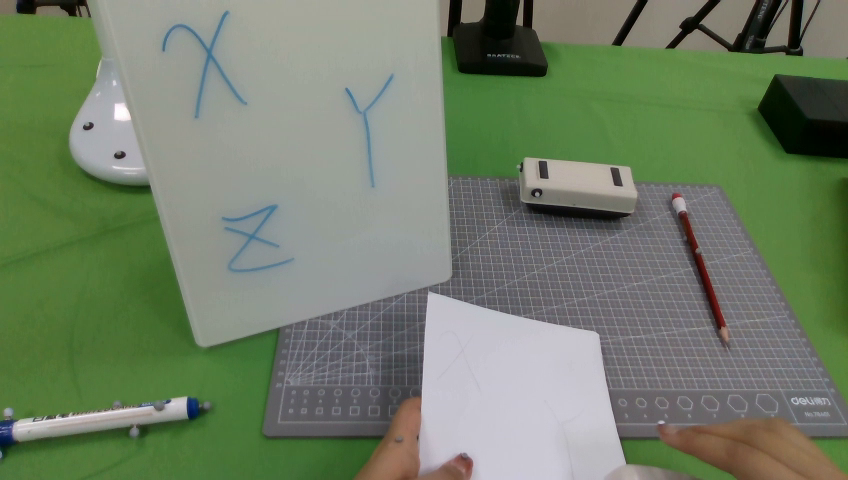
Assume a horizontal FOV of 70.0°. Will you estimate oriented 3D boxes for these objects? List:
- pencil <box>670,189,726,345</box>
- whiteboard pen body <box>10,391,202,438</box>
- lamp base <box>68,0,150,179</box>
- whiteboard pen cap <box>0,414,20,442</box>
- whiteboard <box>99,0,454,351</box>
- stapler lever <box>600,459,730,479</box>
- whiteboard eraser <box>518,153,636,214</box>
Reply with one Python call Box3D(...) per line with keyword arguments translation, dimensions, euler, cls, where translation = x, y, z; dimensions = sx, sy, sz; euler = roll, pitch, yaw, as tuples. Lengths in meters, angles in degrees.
Box3D(translation=(0.259, 0.019, 0.575), dimensions=(0.012, 0.012, 0.192), euler=(5, 47, -1), cls="pencil")
Box3D(translation=(-0.227, 0.121, 0.415), dimensions=(0.141, 0.017, 0.017), euler=(-6, 46, -11), cls="whiteboard pen body")
Box3D(translation=(-0.287, -0.177, 0.585), dimensions=(0.178, 0.182, 0.160), euler=(31, 50, 26), cls="lamp base")
Box3D(translation=(-0.286, 0.125, 0.401), dimensions=(0.033, 0.018, 0.018), euler=(-7, 46, -11), cls="whiteboard pen cap")
Box3D(translation=(-0.108, -0.102, 0.486), dimensions=(0.218, 0.308, 0.142), euler=(-14, 29, -18), cls="whiteboard")
Box3D(translation=(0.170, 0.161, 0.381), dimensions=(0.118, 0.040, 0.026), euler=(7, 47, -3), cls="stapler lever")
Box3D(translation=(0.153, -0.056, 0.612), dimensions=(0.113, 0.042, 0.055), euler=(6, 46, 0), cls="whiteboard eraser")
